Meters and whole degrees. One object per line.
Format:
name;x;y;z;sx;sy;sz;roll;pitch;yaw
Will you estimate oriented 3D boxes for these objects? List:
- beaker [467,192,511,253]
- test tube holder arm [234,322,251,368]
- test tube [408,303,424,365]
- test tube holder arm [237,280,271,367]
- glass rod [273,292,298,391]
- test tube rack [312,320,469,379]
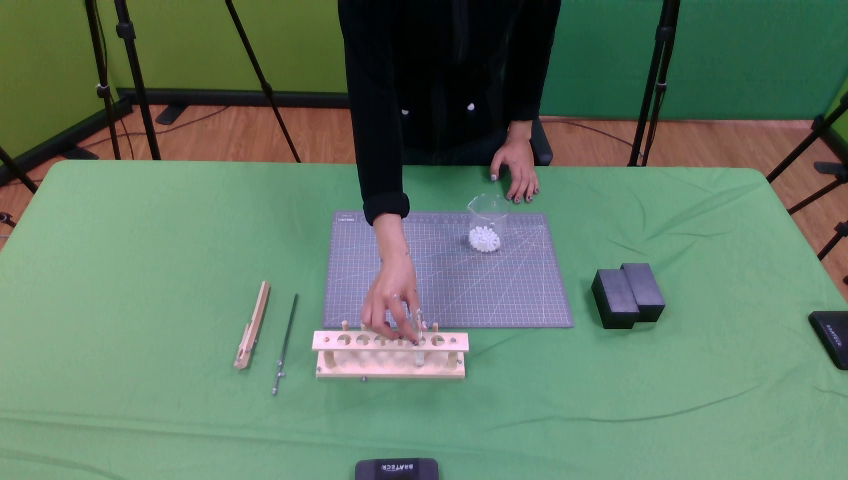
beaker;0.121;-0.031;1.179;0.084;0.101;0.073;3;46;0
test tube holder arm;-0.299;0.173;1.013;0.010;0.015;0.087;-17;41;22
test tube;-0.011;0.149;0.941;0.017;0.151;0.017;-2;46;2
test tube holder arm;-0.290;0.139;1.042;0.013;0.015;0.177;-17;41;22
glass rod;-0.234;0.167;1.030;0.008;0.008;0.198;3;46;0
test tube rack;-0.053;0.173;0.984;0.242;0.085;0.066;1;46;-3
